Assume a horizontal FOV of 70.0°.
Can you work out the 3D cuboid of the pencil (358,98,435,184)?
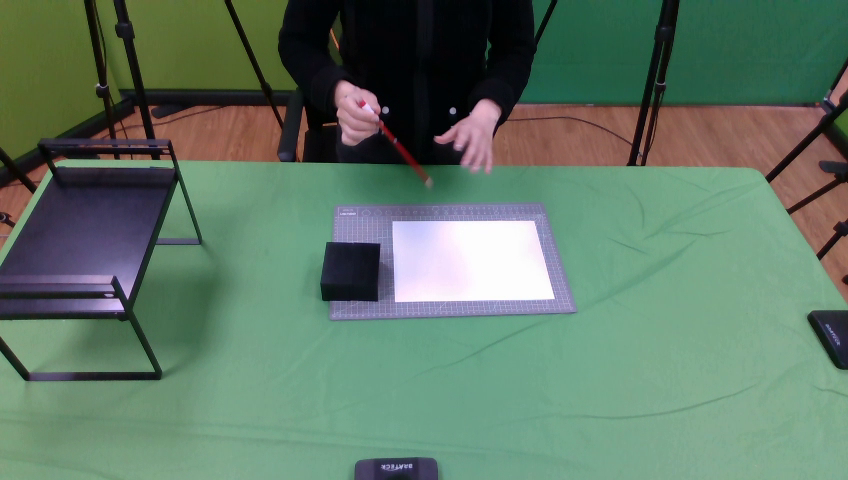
[{"bbox_3d":[-0.044,-0.164,1.026,0.195,0.012,0.012,47,44,-22],"label":"pencil"}]
